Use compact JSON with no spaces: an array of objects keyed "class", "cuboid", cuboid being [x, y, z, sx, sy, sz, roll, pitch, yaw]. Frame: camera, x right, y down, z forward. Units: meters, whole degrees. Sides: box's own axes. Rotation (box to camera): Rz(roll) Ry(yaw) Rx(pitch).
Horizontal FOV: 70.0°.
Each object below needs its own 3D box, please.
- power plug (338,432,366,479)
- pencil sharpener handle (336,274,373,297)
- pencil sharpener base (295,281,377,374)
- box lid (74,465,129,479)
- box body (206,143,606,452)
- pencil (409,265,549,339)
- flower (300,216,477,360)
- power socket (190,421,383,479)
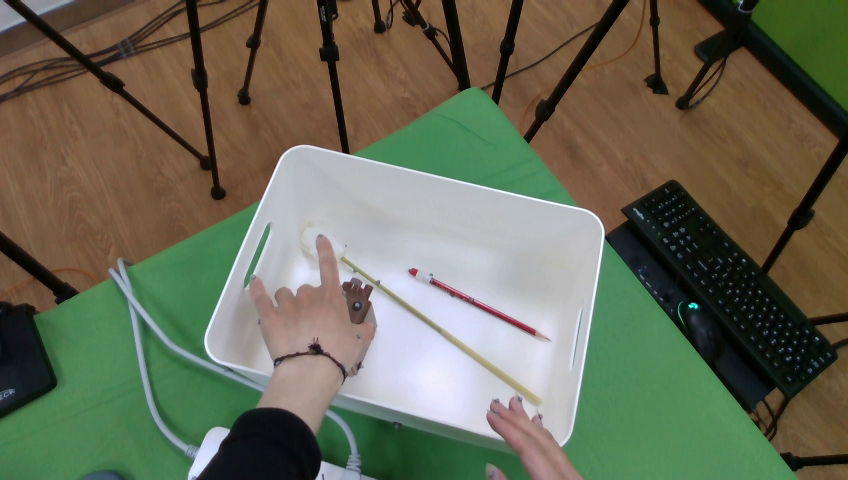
[{"class":"power plug","cuboid":[-0.069,0.250,0.650,0.035,0.053,0.072,26,65,14]},{"class":"pencil sharpener handle","cuboid":[-0.075,0.051,0.699,0.036,0.068,0.030,16,68,16]},{"class":"pencil sharpener base","cuboid":[-0.096,0.099,0.692,0.061,0.108,0.076,20,68,8]},{"class":"box lid","cuboid":[-0.423,0.435,0.605,0.371,0.015,0.261,-33,71,-13]},{"class":"box body","cuboid":[-0.010,0.071,0.682,0.363,0.161,0.252,14,67,6]},{"class":"pencil","cuboid":[0.068,0.078,0.757,0.193,0.012,0.012,27,69,9]},{"class":"flower","cuboid":[-0.009,0.089,0.750,0.360,0.038,0.044,37,93,9]},{"class":"power socket","cuboid":[-0.150,0.265,0.668,0.226,0.033,0.072,17,67,7]}]
